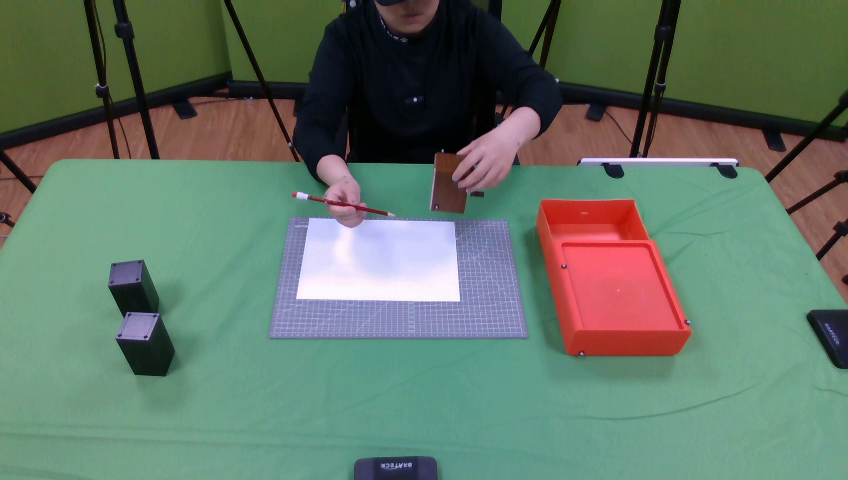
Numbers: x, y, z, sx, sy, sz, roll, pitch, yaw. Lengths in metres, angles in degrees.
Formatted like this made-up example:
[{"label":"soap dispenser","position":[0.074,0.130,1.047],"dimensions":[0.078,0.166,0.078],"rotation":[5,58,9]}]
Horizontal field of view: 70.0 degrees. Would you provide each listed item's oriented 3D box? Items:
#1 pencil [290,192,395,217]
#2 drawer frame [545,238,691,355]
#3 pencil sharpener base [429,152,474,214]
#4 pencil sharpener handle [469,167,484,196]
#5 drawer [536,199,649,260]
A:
[{"label":"pencil","position":[-0.146,-0.063,1.093],"dimensions":[0.194,0.012,0.012],"rotation":[12,46,-1]},{"label":"drawer frame","position":[0.338,0.097,1.085],"dimensions":[0.202,0.083,0.212],"rotation":[0,46,-4]},{"label":"pencil sharpener base","position":[0.052,-0.109,1.170],"dimensions":[0.077,0.107,0.061],"rotation":[5,43,-2]},{"label":"pencil sharpener handle","position":[0.104,-0.113,1.163],"dimensions":[0.030,0.068,0.036],"rotation":[5,41,-2]},{"label":"drawer","position":[0.332,0.014,1.169],"dimensions":[0.195,0.073,0.210],"rotation":[1,46,-5]}]
